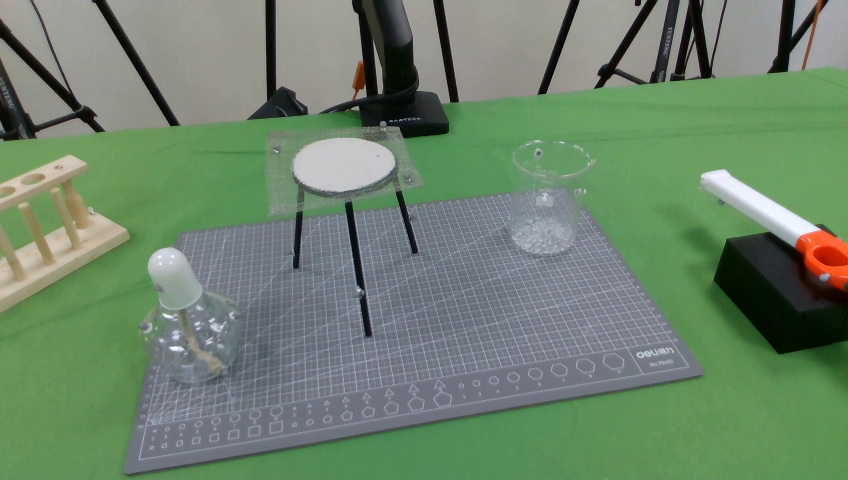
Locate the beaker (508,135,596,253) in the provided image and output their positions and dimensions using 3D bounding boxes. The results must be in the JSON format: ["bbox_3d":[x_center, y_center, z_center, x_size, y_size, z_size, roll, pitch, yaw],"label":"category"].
[{"bbox_3d":[0.124,-0.044,0.608,0.084,0.101,0.073,-3,38,-2],"label":"beaker"}]

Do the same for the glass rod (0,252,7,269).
[{"bbox_3d":[-0.412,-0.049,0.539,0.008,0.201,0.008,3,39,-2],"label":"glass rod"}]

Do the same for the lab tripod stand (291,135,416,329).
[{"bbox_3d":[-0.064,-0.014,0.548,0.148,0.132,0.147,1,38,0],"label":"lab tripod stand"}]

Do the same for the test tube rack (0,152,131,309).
[{"bbox_3d":[-0.415,0.012,0.570,0.066,0.086,0.242,23,44,28],"label":"test tube rack"}]

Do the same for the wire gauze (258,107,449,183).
[{"bbox_3d":[-0.061,-0.078,0.494,0.125,0.011,0.120,-15,36,-29],"label":"wire gauze"}]

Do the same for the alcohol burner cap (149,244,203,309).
[{"bbox_3d":[-0.191,0.025,0.459,0.034,0.048,0.033,-1,42,1],"label":"alcohol burner cap"}]

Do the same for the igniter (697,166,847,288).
[{"bbox_3d":[0.342,0.003,0.527,0.057,0.025,0.273,-13,36,-14],"label":"igniter"}]

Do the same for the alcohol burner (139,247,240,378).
[{"bbox_3d":[-0.189,0.053,0.481,0.078,0.120,0.077,0,37,0],"label":"alcohol burner"}]
